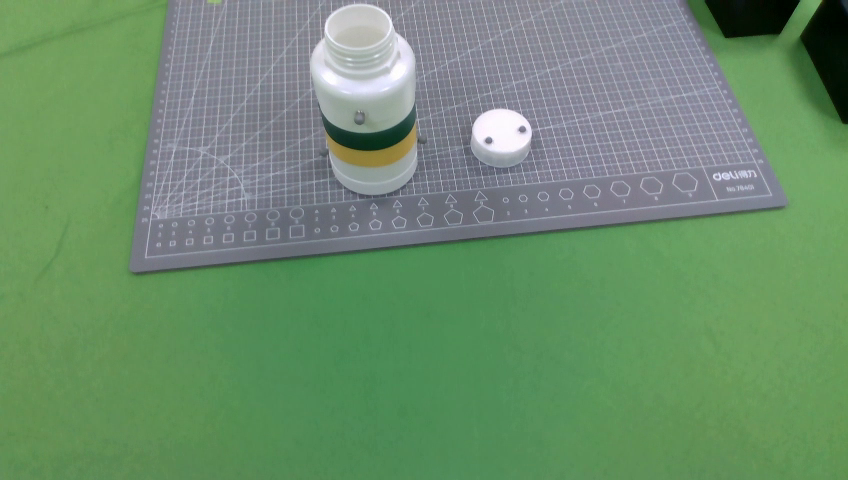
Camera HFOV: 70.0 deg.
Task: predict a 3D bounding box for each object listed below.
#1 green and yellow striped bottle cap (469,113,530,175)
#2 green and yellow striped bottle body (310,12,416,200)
[{"bbox_3d":[0.055,-0.072,0.445,0.045,0.020,0.045,1,60,-1],"label":"green and yellow striped bottle cap"},{"bbox_3d":[-0.037,-0.085,0.390,0.063,0.120,0.062,0,58,0],"label":"green and yellow striped bottle body"}]
